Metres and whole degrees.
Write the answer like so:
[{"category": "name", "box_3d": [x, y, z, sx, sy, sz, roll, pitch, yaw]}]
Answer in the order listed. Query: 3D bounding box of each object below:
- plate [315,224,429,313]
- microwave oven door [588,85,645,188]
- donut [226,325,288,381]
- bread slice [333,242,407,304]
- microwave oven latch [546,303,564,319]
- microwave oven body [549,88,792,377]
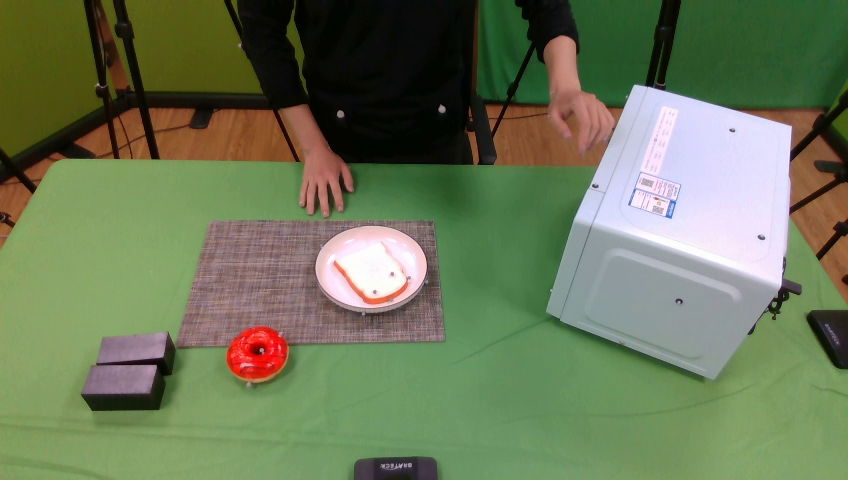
[{"category": "plate", "box_3d": [-0.096, 0.055, 1.121, 0.208, 0.039, 0.206, 2, 46, -2]}, {"category": "microwave oven door", "box_3d": [0.342, -0.107, 1.149, 0.039, 0.245, 0.354, 20, 48, 15]}, {"category": "donut", "box_3d": [-0.270, 0.182, 0.984, 0.099, 0.048, 0.098, 5, 49, -5]}, {"category": "bread slice", "box_3d": [-0.092, 0.061, 1.117, 0.105, 0.019, 0.130, -24, 52, -24]}, {"category": "microwave oven latch", "box_3d": [0.242, 0.102, 1.081, 0.030, 0.029, 0.079, 22, 48, 17]}, {"category": "microwave oven body", "box_3d": [0.456, -0.028, 1.088, 0.325, 0.261, 0.440, 20, 47, 16]}]
